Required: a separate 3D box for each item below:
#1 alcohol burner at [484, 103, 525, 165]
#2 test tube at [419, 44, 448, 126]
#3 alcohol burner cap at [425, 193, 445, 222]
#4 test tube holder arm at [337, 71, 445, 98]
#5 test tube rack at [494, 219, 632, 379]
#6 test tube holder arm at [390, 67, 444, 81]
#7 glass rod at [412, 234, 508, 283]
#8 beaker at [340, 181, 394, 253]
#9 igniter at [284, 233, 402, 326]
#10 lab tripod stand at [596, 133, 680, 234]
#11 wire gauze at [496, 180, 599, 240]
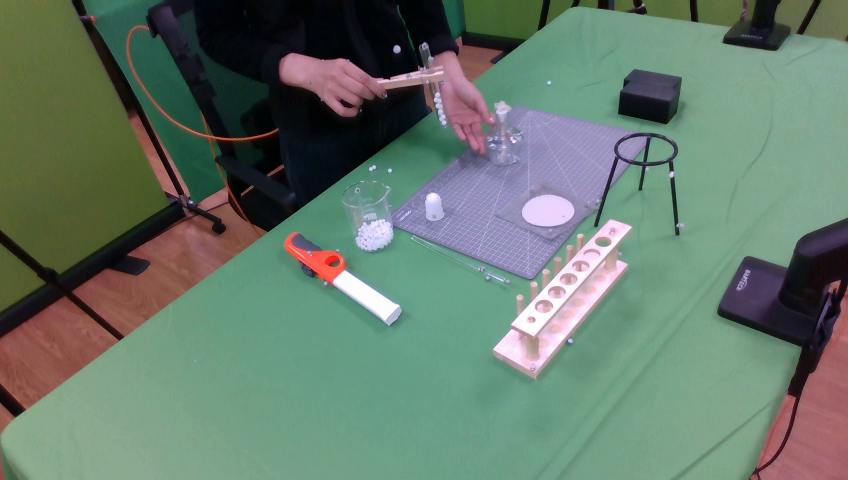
[{"bbox_3d":[0.148,-0.200,1.117,0.078,0.119,0.077,-4,39,4],"label":"alcohol burner"},{"bbox_3d":[0.017,-0.249,0.989,0.017,0.151,0.017,-9,45,10],"label":"test tube"},{"bbox_3d":[0.017,-0.058,1.029,0.034,0.048,0.033,-5,40,5],"label":"alcohol burner cap"},{"bbox_3d":[-0.055,-0.252,0.979,0.178,0.015,0.013,-8,40,7],"label":"test tube holder arm"},{"bbox_3d":[0.191,0.068,0.818,0.066,0.085,0.243,25,51,35],"label":"test tube rack"},{"bbox_3d":[-0.011,-0.263,0.979,0.088,0.015,0.010,-12,40,2],"label":"test tube holder arm"},{"bbox_3d":[0.051,0.028,0.951,0.198,0.008,0.008,25,52,37],"label":"glass rod"},{"bbox_3d":[-0.086,-0.037,0.985,0.084,0.101,0.073,-18,41,-11],"label":"beaker"},{"bbox_3d":[-0.136,0.054,0.942,0.274,0.025,0.057,30,63,37],"label":"igniter"},{"bbox_3d":[0.338,-0.091,0.940,0.148,0.132,0.147,-7,39,6],"label":"lab tripod stand"},{"bbox_3d":[0.206,-0.050,1.012,0.125,0.011,0.120,-34,45,-26],"label":"wire gauze"}]
